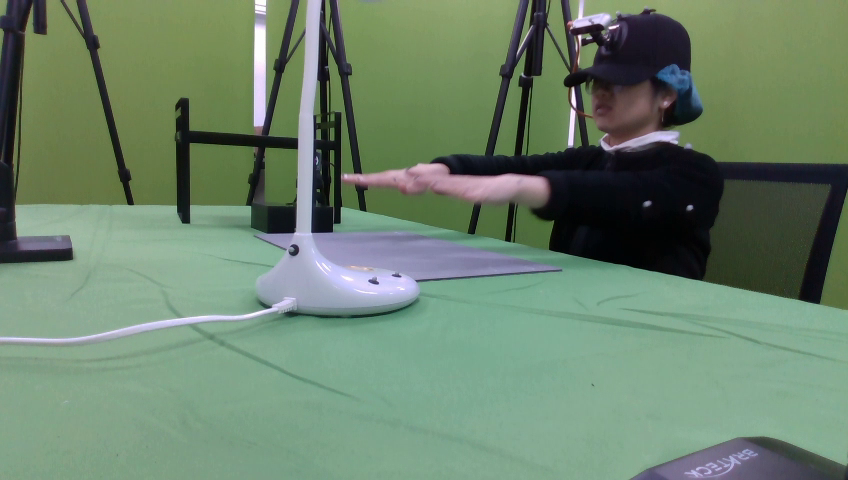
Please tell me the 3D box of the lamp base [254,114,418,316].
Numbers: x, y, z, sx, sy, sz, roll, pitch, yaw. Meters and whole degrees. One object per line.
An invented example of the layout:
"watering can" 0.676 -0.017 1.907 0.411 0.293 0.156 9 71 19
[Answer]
"lamp base" -0.086 -0.027 0.577 0.160 0.180 0.179 4 10 16

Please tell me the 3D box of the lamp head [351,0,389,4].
"lamp head" -0.053 -0.313 0.597 0.112 0.112 0.123 6 -28 25
